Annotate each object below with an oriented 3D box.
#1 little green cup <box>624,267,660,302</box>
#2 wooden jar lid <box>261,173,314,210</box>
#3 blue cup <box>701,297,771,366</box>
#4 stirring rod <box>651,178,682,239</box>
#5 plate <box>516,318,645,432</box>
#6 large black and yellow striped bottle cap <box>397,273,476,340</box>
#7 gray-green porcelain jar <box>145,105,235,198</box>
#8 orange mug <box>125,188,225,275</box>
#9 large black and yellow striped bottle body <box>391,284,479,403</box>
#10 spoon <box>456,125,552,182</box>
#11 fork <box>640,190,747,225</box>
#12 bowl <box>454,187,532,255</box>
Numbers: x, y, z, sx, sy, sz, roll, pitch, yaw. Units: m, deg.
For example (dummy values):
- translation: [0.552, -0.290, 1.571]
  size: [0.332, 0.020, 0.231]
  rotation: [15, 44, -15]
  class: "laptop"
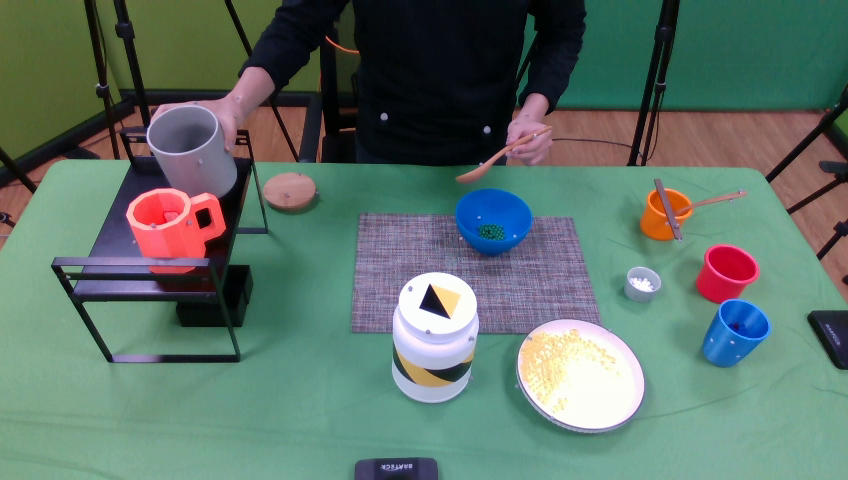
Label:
- translation: [0.406, 0.084, 1.135]
  size: [0.061, 0.039, 0.061]
  rotation: [3, 45, -3]
  class: "little green cup"
- translation: [-0.286, -0.101, 1.273]
  size: [0.108, 0.021, 0.107]
  rotation: [3, 45, -3]
  class: "wooden jar lid"
- translation: [0.519, 0.162, 1.025]
  size: [0.093, 0.101, 0.092]
  rotation: [3, 45, -3]
  class: "blue cup"
- translation: [0.480, -0.065, 1.204]
  size: [0.014, 0.006, 0.175]
  rotation: [3, 46, -3]
  class: "stirring rod"
- translation: [0.253, 0.221, 0.992]
  size: [0.209, 0.038, 0.208]
  rotation: [2, 46, -2]
  class: "plate"
- translation: [0.018, 0.094, 0.878]
  size: [0.115, 0.019, 0.114]
  rotation: [3, 46, -3]
  class: "large black and yellow striped bottle cap"
- translation: [-0.361, -0.129, 0.952]
  size: [0.106, 0.127, 0.105]
  rotation: [0, 56, 0]
  class: "gray-green porcelain jar"
- translation: [-0.357, -0.020, 0.884]
  size: [0.126, 0.101, 0.083]
  rotation: [-29, 54, -23]
  class: "orange mug"
- translation: [0.015, 0.153, 0.938]
  size: [0.131, 0.185, 0.130]
  rotation: [2, 46, -2]
  class: "large black and yellow striped bottle body"
- translation: [0.137, -0.151, 1.058]
  size: [0.042, 0.194, 0.021]
  rotation: [10, 51, -59]
  class: "spoon"
- translation: [0.533, -0.065, 1.211]
  size: [0.207, 0.019, 0.028]
  rotation: [-22, 28, 39]
  class: "fork"
- translation: [0.131, -0.025, 1.186]
  size: [0.151, 0.077, 0.150]
  rotation: [2, 46, -2]
  class: "bowl"
